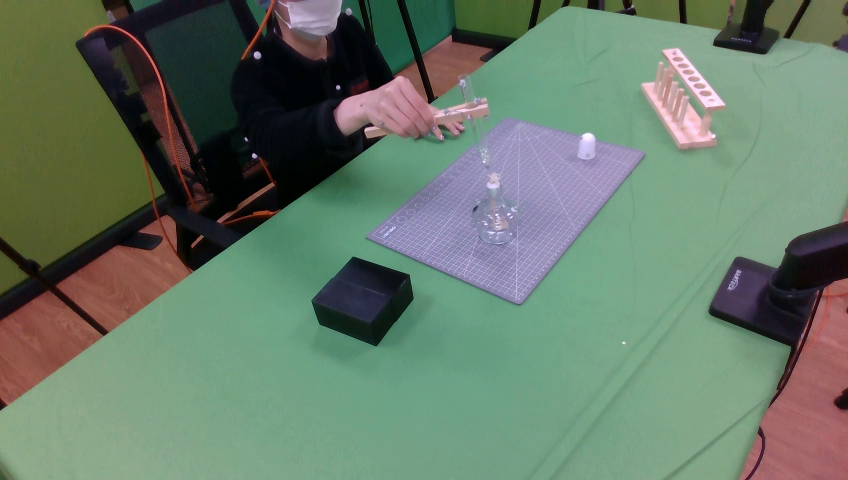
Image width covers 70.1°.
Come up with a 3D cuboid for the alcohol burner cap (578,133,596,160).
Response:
[{"bbox_3d":[0.301,-0.174,1.111,0.034,0.048,0.033,-4,41,4],"label":"alcohol burner cap"}]

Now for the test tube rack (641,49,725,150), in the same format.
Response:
[{"bbox_3d":[0.495,-0.279,1.175,0.067,0.085,0.241,-5,41,3],"label":"test tube rack"}]

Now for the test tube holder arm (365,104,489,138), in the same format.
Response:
[{"bbox_3d":[0.002,-0.165,0.840,0.178,0.015,0.013,-9,42,13],"label":"test tube holder arm"}]

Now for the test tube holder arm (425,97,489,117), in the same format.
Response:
[{"bbox_3d":[0.046,-0.178,0.836,0.088,0.015,0.010,-15,42,7],"label":"test tube holder arm"}]

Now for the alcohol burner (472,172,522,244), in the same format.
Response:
[{"bbox_3d":[0.112,-0.053,0.942,0.078,0.119,0.077,-6,40,5],"label":"alcohol burner"}]

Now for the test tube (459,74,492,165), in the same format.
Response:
[{"bbox_3d":[0.074,-0.164,0.844,0.017,0.151,0.017,-12,43,12],"label":"test tube"}]
